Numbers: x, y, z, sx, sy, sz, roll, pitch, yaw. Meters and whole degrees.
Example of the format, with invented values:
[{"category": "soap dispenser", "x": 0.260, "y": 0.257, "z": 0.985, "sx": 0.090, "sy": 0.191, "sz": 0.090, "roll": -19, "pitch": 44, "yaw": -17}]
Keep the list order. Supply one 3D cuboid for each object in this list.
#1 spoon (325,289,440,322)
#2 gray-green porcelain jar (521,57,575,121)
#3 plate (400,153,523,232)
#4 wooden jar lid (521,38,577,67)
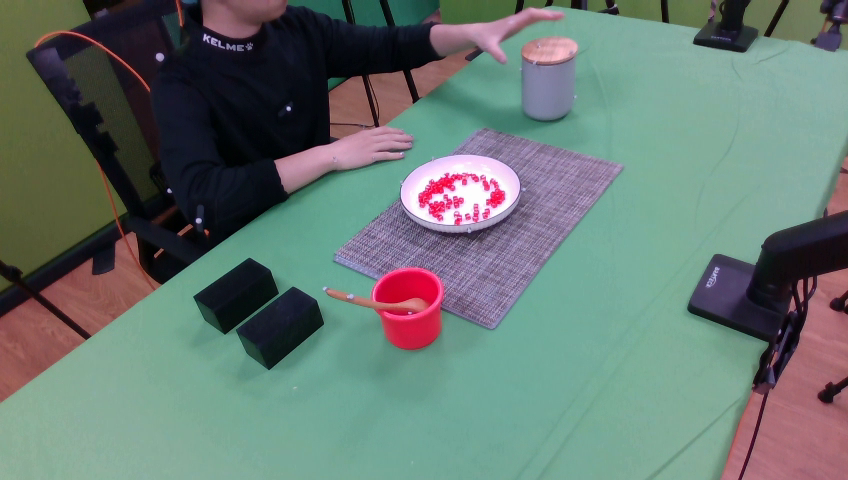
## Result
[{"category": "spoon", "x": -0.047, "y": 0.084, "z": 0.776, "sx": 0.195, "sy": 0.021, "sz": 0.041, "roll": 13, "pitch": 26, "yaw": -43}, {"category": "gray-green porcelain jar", "x": 0.249, "y": -0.313, "z": 1.219, "sx": 0.106, "sy": 0.127, "sz": 0.105, "roll": -4, "pitch": 41, "yaw": 4}, {"category": "plate", "x": 0.065, "y": -0.078, "z": 1.034, "sx": 0.207, "sy": 0.039, "sz": 0.206, "roll": -4, "pitch": 40, "yaw": 4}, {"category": "wooden jar lid", "x": 0.243, "y": -0.362, "z": 1.177, "sx": 0.108, "sy": 0.021, "sz": 0.108, "roll": -5, "pitch": 43, "yaw": 5}]
